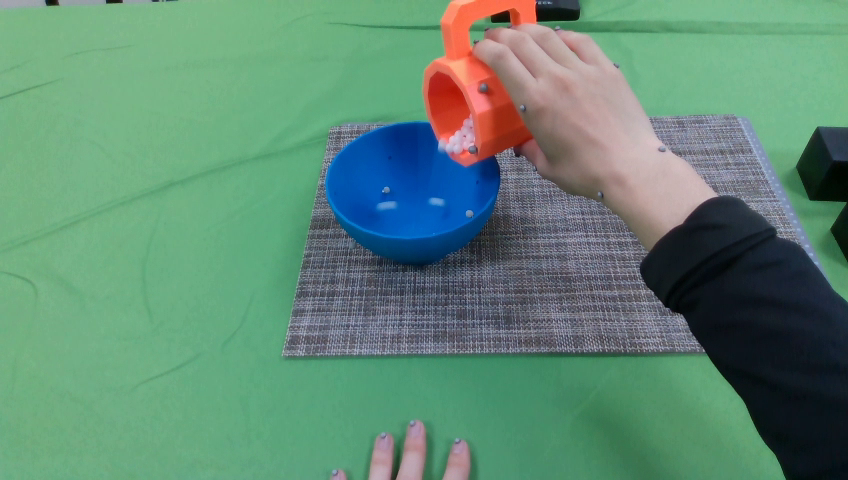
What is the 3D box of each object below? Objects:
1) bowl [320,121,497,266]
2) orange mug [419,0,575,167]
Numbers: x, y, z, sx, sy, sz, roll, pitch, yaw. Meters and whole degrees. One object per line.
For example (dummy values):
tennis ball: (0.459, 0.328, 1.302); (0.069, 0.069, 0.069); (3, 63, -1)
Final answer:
bowl: (-0.011, -0.030, 0.540); (0.151, 0.077, 0.150); (-2, 48, 3)
orange mug: (0.054, -0.131, 0.485); (0.101, 0.127, 0.082); (-29, 35, -16)
